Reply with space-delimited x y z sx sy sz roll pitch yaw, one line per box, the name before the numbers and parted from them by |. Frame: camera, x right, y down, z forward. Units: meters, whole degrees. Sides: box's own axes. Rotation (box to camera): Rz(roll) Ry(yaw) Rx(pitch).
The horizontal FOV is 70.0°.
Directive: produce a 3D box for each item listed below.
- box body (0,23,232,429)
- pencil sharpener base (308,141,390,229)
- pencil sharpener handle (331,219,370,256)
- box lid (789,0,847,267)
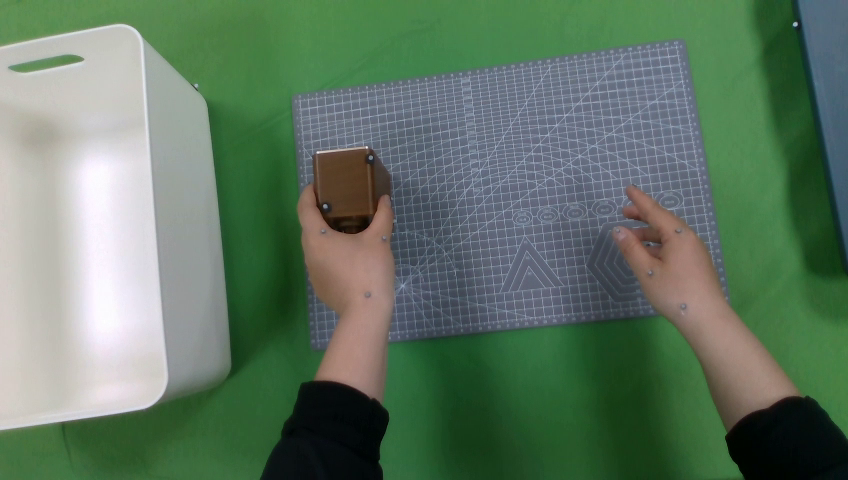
box body | -0.360 -0.004 0.633 0.254 0.161 0.362 -10 82 4
pencil sharpener base | -0.075 -0.050 0.633 0.061 0.107 0.076 -6 82 5
pencil sharpener handle | -0.069 -0.001 0.614 0.036 0.068 0.030 -7 82 13
box lid | 0.514 -0.155 0.591 0.263 0.015 0.370 -7 82 5
